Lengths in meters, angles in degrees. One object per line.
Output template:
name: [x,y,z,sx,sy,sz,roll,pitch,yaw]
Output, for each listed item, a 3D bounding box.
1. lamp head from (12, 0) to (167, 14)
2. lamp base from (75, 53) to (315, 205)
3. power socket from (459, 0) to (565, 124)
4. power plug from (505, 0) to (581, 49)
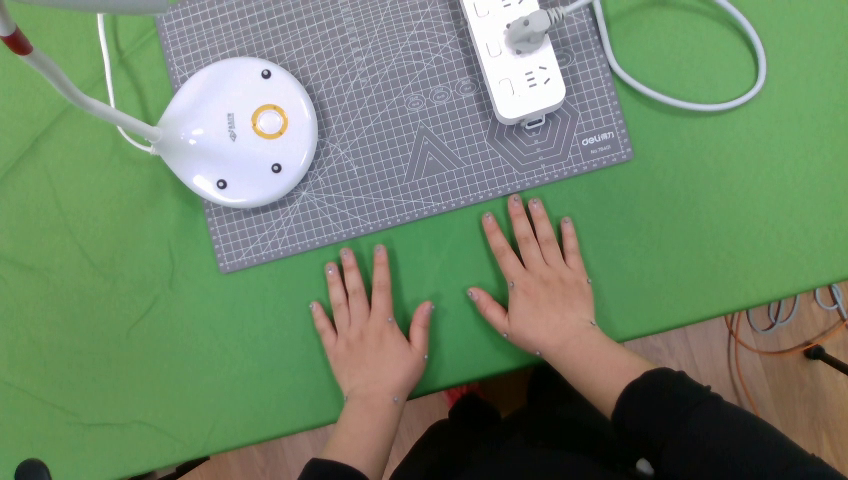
lamp head: [-0.183,-0.153,0.265,0.123,0.112,0.112,-13,88,-17]
lamp base: [-0.212,-0.114,0.563,0.179,0.180,0.160,-20,87,7]
power socket: [0.079,-0.230,0.612,0.072,0.032,0.226,-18,88,4]
power plug: [0.115,-0.207,0.590,0.072,0.052,0.035,-6,89,3]
